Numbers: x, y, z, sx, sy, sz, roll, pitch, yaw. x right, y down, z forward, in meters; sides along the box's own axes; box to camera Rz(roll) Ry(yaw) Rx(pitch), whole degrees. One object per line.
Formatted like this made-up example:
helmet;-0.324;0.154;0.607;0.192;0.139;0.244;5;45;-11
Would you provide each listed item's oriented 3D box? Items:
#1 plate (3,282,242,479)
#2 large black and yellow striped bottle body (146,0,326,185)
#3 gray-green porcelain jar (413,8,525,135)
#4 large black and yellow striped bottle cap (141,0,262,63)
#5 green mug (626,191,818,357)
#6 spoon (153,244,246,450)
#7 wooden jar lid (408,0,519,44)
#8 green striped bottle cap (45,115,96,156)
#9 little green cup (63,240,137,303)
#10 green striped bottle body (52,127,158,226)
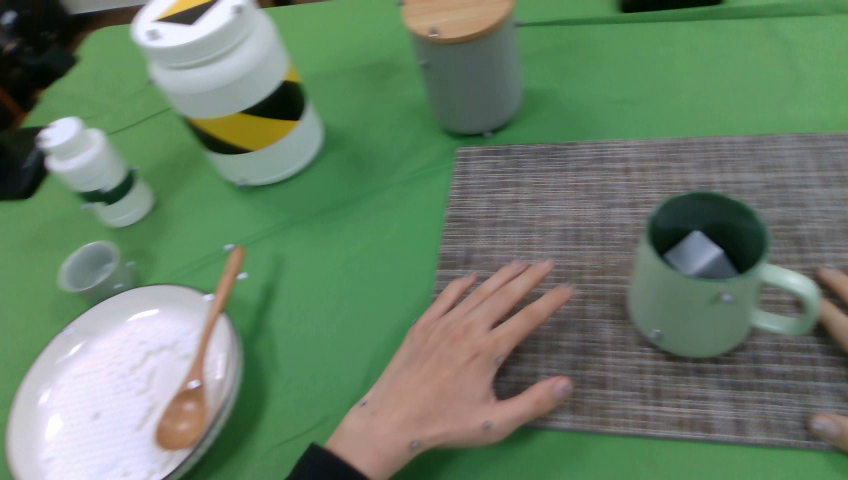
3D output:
plate;-0.253;0.132;0.528;0.209;0.038;0.207;-7;52;9
large black and yellow striped bottle body;-0.194;-0.163;0.642;0.130;0.186;0.129;-7;52;9
gray-green porcelain jar;0.051;-0.184;0.634;0.106;0.128;0.105;-7;52;9
large black and yellow striped bottle cap;-0.212;-0.211;0.576;0.115;0.019;0.114;-7;51;9
green mug;0.213;0.032;0.439;0.124;0.106;0.092;21;61;27
spoon;-0.187;0.085;0.526;0.041;0.022;0.192;3;63;15
wooden jar lid;0.039;-0.221;0.586;0.108;0.021;0.107;-6;55;10
green striped bottle cap;-0.359;-0.106;0.615;0.044;0.020;0.044;-5;54;7
little green cup;-0.328;0.035;0.619;0.061;0.039;0.061;-7;50;9
green striped bottle body;-0.348;-0.074;0.655;0.063;0.120;0.062;-7;52;9
